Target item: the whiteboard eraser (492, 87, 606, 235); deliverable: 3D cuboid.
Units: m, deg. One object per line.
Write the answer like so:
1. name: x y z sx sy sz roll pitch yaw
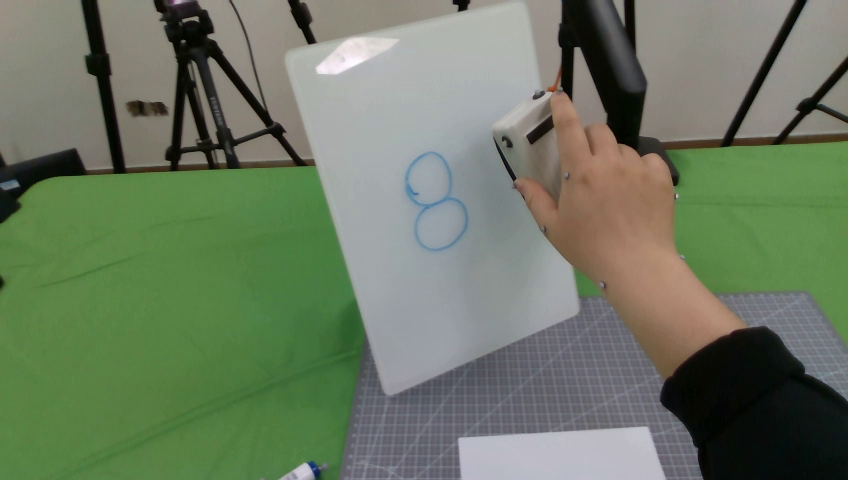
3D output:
1. whiteboard eraser: 0.101 -0.062 0.491 0.055 0.113 0.041 -38 24 -13

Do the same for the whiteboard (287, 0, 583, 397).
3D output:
1. whiteboard: 0.004 -0.048 0.588 0.217 0.307 0.142 -19 18 -18

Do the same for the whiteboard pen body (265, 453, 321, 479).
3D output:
1. whiteboard pen body: -0.141 0.203 0.452 0.141 0.017 0.017 -26 41 -28
